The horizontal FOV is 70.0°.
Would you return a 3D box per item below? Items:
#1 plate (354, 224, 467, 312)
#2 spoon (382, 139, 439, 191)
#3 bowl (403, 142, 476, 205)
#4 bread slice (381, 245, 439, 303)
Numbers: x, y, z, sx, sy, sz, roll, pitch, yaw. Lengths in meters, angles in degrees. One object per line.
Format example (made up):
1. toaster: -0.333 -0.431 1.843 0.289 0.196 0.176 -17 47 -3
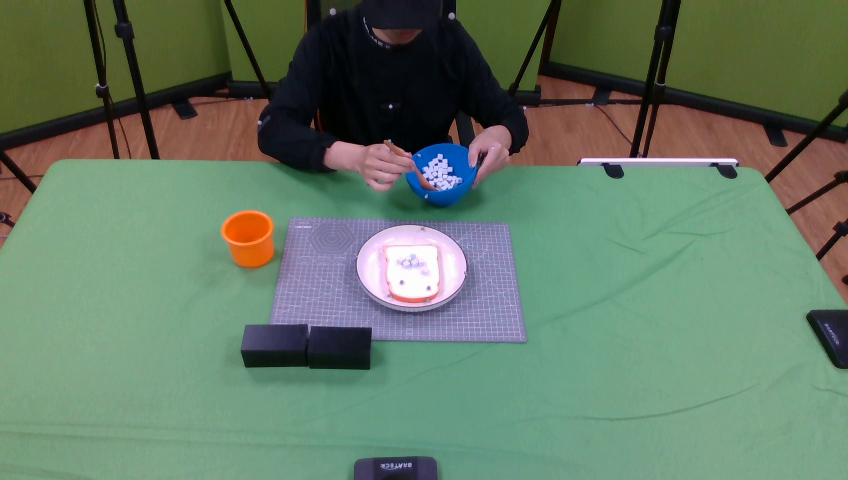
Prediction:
1. plate: -0.025 0.055 1.128 0.209 0.038 0.208 3 46 -2
2. spoon: -0.023 -0.140 1.177 0.041 0.195 0.021 14 68 42
3. bowl: 0.038 -0.125 1.263 0.151 0.077 0.150 -6 48 7
4. bread slice: -0.022 0.061 1.126 0.107 0.018 0.133 -3 45 -8
